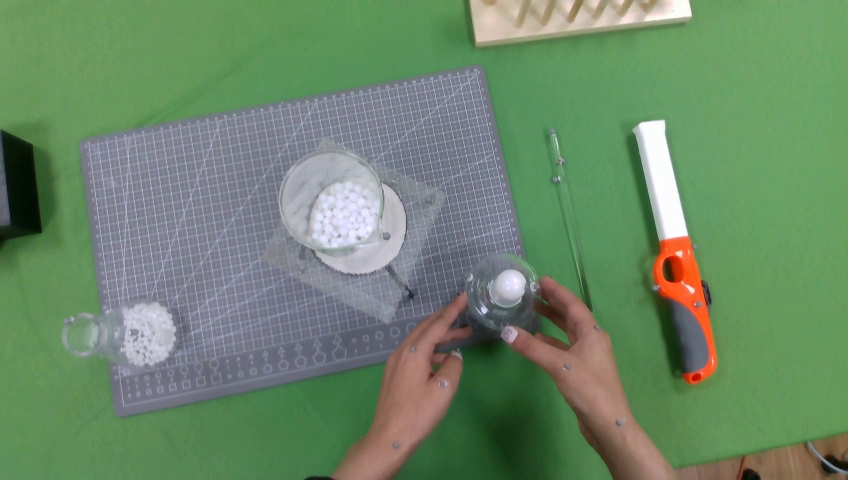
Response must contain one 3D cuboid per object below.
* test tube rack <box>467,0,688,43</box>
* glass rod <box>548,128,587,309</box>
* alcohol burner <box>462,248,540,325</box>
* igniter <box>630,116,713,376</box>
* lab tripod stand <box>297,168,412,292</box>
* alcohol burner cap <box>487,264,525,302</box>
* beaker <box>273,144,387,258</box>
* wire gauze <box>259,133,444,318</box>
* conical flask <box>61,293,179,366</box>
[{"bbox_3d":[0.170,-0.275,0.646,0.242,0.085,0.066,-8,82,-1],"label":"test tube rack"},{"bbox_3d":[0.155,-0.024,0.654,0.008,0.008,0.199,-10,86,-2],"label":"glass rod"},{"bbox_3d":[0.076,0.044,0.588,0.078,0.119,0.077,0,83,2],"label":"alcohol burner"},{"bbox_3d":[0.262,0.003,0.641,0.057,0.025,0.275,-8,83,-12],"label":"igniter"},{"bbox_3d":[-0.064,-0.007,0.584,0.148,0.132,0.148,0,84,1],"label":"lab tripod stand"},{"bbox_3d":[0.076,0.037,0.553,0.034,0.048,0.033,1,76,-2],"label":"alcohol burner cap"},{"bbox_3d":[-0.064,-0.023,0.471,0.084,0.100,0.074,39,85,4],"label":"beaker"},{"bbox_3d":[-0.061,-0.014,0.518,0.125,0.011,0.121,26,86,1],"label":"wire gauze"},{"bbox_3d":[-0.291,0.085,0.575,0.075,0.122,0.075,0,82,0],"label":"conical flask"}]
